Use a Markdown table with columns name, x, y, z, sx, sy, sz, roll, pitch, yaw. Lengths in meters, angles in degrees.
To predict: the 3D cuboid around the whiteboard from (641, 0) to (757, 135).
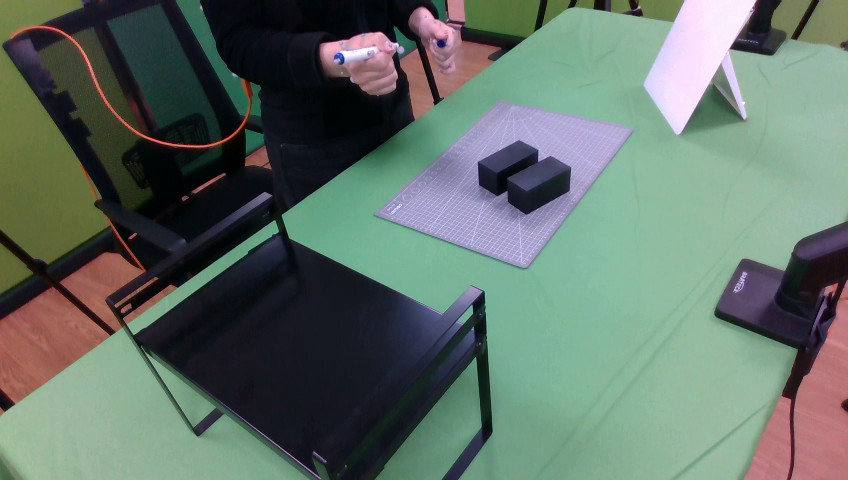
| name | x | y | z | sx | sy | sz | roll | pitch | yaw |
| --- | --- | --- | --- | --- | --- | --- | --- | --- | --- |
| whiteboard | 0.575 | -0.367 | 1.147 | 0.144 | 0.305 | 0.216 | 10 | 39 | -9 |

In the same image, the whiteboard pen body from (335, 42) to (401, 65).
| name | x | y | z | sx | sy | sz | roll | pitch | yaw |
| --- | --- | --- | --- | --- | --- | --- | --- | --- | --- |
| whiteboard pen body | -0.072 | -0.255 | 0.820 | 0.017 | 0.017 | 0.141 | 18 | 32 | 27 |

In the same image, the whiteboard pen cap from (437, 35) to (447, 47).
| name | x | y | z | sx | sy | sz | roll | pitch | yaw |
| --- | --- | --- | --- | --- | --- | --- | --- | --- | --- |
| whiteboard pen cap | 0.033 | -0.357 | 1.088 | 0.018 | 0.018 | 0.033 | -2 | 27 | 6 |
